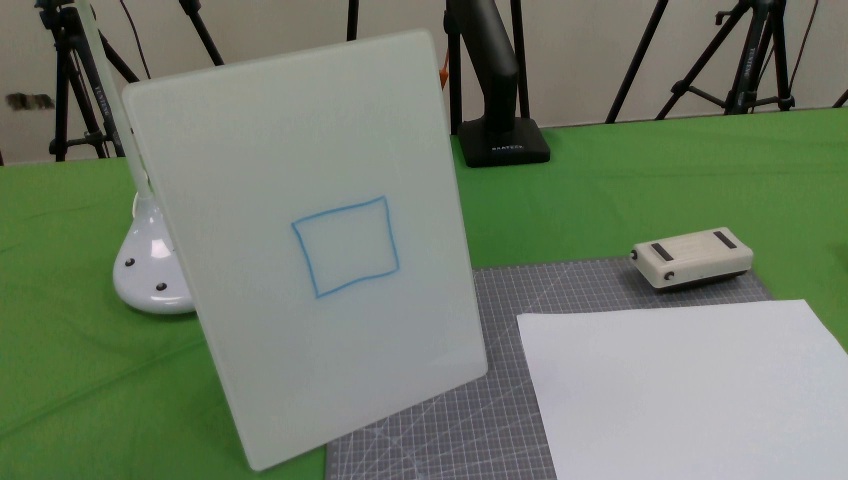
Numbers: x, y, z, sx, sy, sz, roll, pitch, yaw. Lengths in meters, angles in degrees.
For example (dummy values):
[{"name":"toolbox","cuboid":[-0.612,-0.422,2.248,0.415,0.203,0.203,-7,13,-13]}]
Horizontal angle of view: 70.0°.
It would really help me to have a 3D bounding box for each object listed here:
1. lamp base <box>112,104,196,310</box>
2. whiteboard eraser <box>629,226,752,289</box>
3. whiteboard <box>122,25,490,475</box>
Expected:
[{"name":"lamp base","cuboid":[-0.272,-0.044,0.635,0.178,0.182,0.160,22,43,31]},{"name":"whiteboard eraser","cuboid":[0.281,0.020,0.640,0.113,0.042,0.055,-10,39,-10]},{"name":"whiteboard","cuboid":[-0.090,-0.003,0.521,0.218,0.307,0.142,-18,21,-18]}]
